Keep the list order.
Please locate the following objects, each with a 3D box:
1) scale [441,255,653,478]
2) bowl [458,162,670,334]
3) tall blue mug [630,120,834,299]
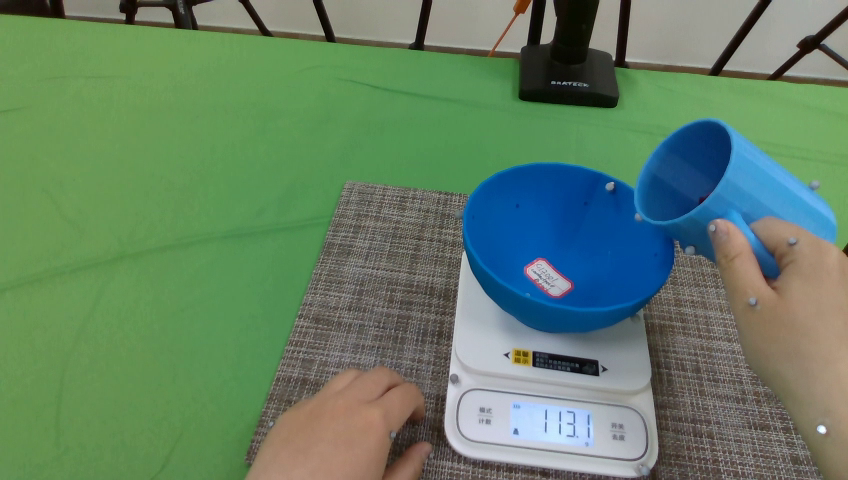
[{"bbox_3d":[0.095,0.078,0.473,0.148,0.032,0.199,6,46,4],"label":"scale"},{"bbox_3d":[0.097,0.018,0.456,0.151,0.077,0.150,2,46,-2],"label":"bowl"},{"bbox_3d":[0.210,-0.016,0.393,0.109,0.078,0.106,27,4,-22],"label":"tall blue mug"}]
